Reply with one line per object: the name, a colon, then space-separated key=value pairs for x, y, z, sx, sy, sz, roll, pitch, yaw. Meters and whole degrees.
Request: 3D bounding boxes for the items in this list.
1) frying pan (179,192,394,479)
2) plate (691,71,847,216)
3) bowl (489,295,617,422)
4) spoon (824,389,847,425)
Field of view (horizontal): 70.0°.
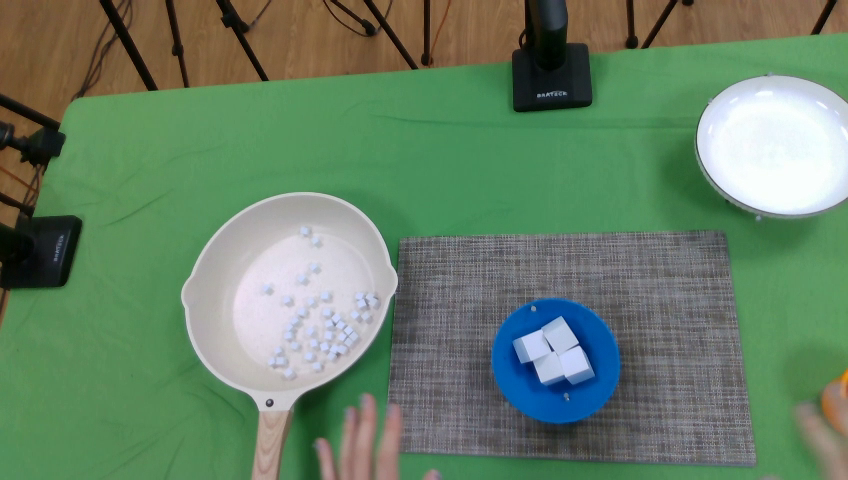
frying pan: x=-0.190 y=0.165 z=0.798 sx=0.306 sy=0.104 sz=0.483 roll=-3 pitch=59 yaw=9
plate: x=0.455 y=-0.123 z=0.788 sx=0.207 sy=0.039 sz=0.206 roll=-3 pitch=69 yaw=9
bowl: x=0.158 y=0.153 z=0.752 sx=0.151 sy=0.077 sz=0.150 roll=-4 pitch=67 yaw=9
spoon: x=0.534 y=0.163 z=0.649 sx=0.022 sy=0.194 sz=0.041 roll=6 pitch=61 yaw=-36
